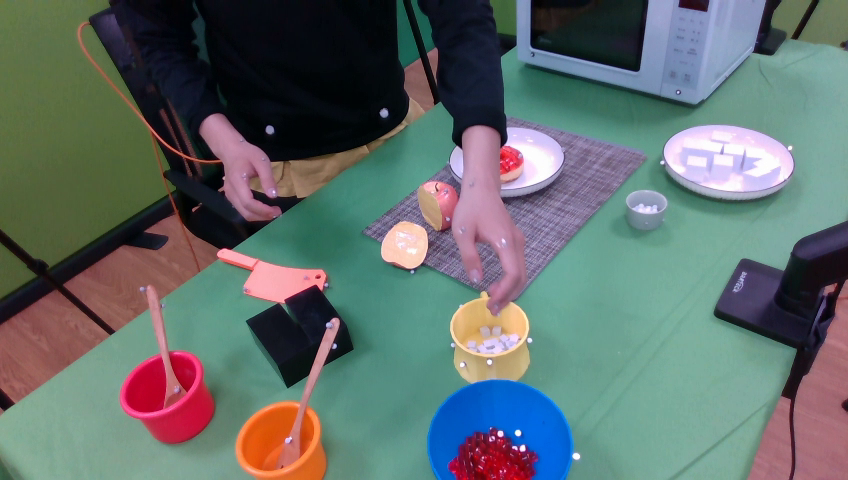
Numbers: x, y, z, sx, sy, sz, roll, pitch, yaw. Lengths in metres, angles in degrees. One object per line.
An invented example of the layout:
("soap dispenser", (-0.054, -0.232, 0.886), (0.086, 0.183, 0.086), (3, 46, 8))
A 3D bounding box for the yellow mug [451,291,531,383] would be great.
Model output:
("yellow mug", (0.085, 0.120, 0.786), (0.100, 0.064, 0.130), (-7, 39, 1))

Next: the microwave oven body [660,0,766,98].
("microwave oven body", (0.472, -0.513, 1.317), (0.438, 0.261, 0.327), (26, 51, 34))

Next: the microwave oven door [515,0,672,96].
("microwave oven door", (0.343, -0.455, 1.259), (0.353, 0.245, 0.039), (26, 51, 33))

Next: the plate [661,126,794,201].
("plate", (0.513, -0.127, 1.035), (0.207, 0.039, 0.206), (-4, 40, 4))

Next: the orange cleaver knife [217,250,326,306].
("orange cleaver knife", (-0.247, 0.059, 0.946), (0.210, 0.012, 0.077), (12, 49, 20))

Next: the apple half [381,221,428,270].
("apple half", (-0.025, 0.012, 0.946), (0.081, 0.033, 0.081), (-5, 73, 16))

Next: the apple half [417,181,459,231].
("apple half", (0.030, -0.059, 0.995), (0.053, 0.075, 0.080), (-23, 39, -23))

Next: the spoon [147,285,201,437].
("spoon", (-0.318, 0.148, 0.754), (0.042, 0.021, 0.193), (-15, 85, -9))

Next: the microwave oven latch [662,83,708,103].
("microwave oven latch", (0.518, -0.296, 1.204), (0.078, 0.029, 0.030), (27, 52, 35))

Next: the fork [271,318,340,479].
("fork", (-0.132, 0.186, 0.676), (0.028, 0.019, 0.207), (18, 90, 28))

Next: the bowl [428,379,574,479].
("bowl", (0.082, 0.232, 0.644), (0.151, 0.077, 0.150), (-4, 40, 4))

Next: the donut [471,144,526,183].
("donut", (0.133, -0.138, 1.082), (0.099, 0.048, 0.098), (-5, 38, 4))

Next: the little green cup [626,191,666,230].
("little green cup", (0.352, -0.046, 0.963), (0.061, 0.039, 0.061), (-4, 40, 4))

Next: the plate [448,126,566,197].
("plate", (0.150, -0.138, 1.096), (0.209, 0.038, 0.208), (-4, 40, 4))
